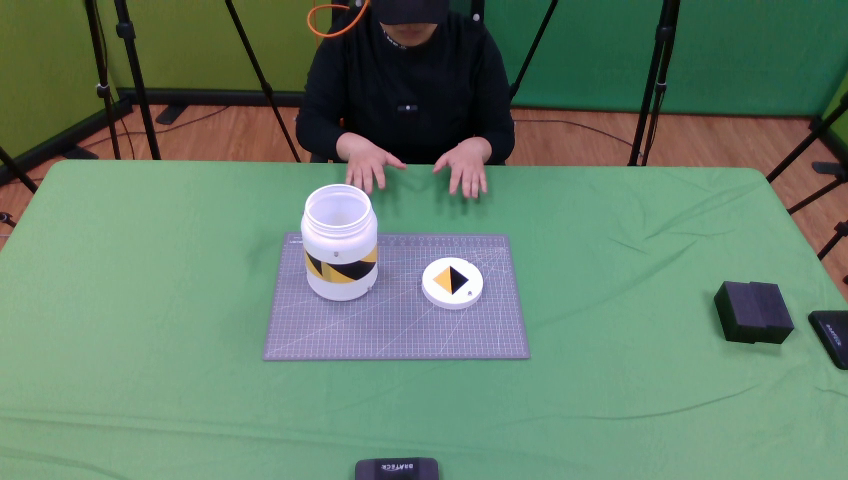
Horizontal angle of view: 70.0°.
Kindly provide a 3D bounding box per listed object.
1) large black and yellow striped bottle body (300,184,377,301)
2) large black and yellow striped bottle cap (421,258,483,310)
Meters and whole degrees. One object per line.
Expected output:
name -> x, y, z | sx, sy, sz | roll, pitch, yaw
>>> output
large black and yellow striped bottle body -> -0.148, 0.004, 1.067 | 0.131, 0.185, 0.130 | 2, 46, -2
large black and yellow striped bottle cap -> 0.053, 0.080, 1.126 | 0.115, 0.019, 0.114 | 2, 45, -1
